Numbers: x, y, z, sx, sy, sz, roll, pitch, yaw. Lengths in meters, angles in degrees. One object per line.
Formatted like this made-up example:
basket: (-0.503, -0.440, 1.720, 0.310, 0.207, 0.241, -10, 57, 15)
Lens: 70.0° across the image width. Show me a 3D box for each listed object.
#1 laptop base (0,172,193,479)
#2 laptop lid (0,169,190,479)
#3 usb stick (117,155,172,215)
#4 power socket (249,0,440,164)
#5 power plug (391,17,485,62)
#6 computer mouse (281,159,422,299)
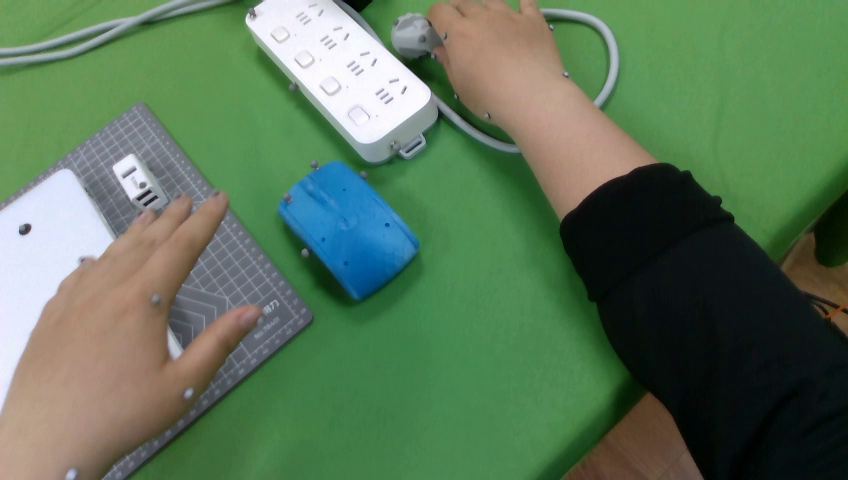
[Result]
laptop base: (-0.357, 0.124, 0.443, 0.354, 0.023, 0.233, -40, 64, -9)
laptop lid: (-0.358, 0.120, 0.432, 0.356, 0.013, 0.239, -39, 63, -8)
usb stick: (-0.232, -0.050, 0.498, 0.021, 0.027, 0.058, -39, 58, -6)
power socket: (-0.072, -0.147, 0.510, 0.072, 0.033, 0.224, -38, 60, -7)
power plug: (0.008, -0.168, 0.512, 0.073, 0.035, 0.052, -2, 27, -26)
computer mouse: (-0.056, -0.014, 0.433, 0.063, 0.041, 0.116, -41, 57, -7)
